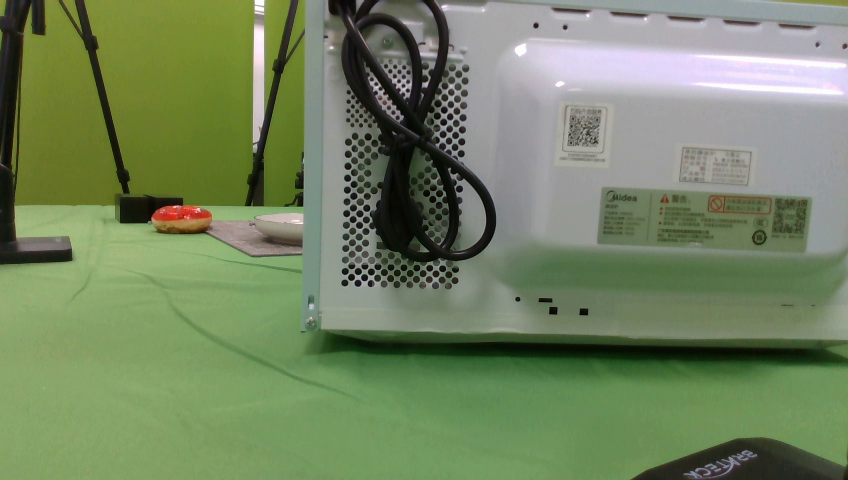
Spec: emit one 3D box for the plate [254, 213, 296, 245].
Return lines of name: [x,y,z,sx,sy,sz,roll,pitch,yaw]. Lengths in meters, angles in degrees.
plate: [-0.177,-0.017,1.017,0.208,0.039,0.207,3,7,0]

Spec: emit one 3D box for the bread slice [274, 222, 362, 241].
bread slice: [-0.181,-0.016,1.011,0.104,0.019,0.132,6,8,27]

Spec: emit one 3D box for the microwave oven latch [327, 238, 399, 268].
microwave oven latch: [-0.069,0.015,0.694,0.079,0.029,0.030,3,7,-3]

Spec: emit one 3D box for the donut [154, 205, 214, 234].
donut: [-0.426,-0.037,1.075,0.099,0.048,0.099,2,12,0]

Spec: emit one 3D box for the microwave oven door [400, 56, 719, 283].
microwave oven door: [0.155,-0.077,0.697,0.356,0.243,0.039,2,8,-5]

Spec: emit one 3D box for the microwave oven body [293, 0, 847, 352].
microwave oven body: [0.122,-0.055,0.550,0.442,0.260,0.325,3,7,-5]
